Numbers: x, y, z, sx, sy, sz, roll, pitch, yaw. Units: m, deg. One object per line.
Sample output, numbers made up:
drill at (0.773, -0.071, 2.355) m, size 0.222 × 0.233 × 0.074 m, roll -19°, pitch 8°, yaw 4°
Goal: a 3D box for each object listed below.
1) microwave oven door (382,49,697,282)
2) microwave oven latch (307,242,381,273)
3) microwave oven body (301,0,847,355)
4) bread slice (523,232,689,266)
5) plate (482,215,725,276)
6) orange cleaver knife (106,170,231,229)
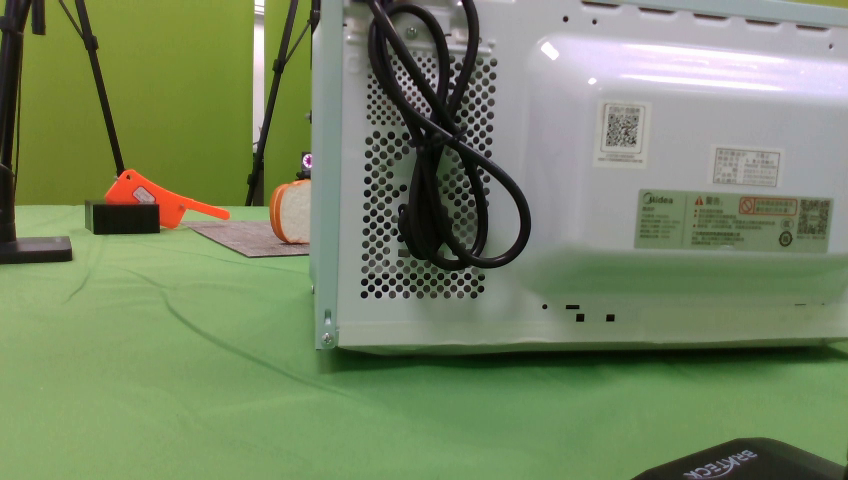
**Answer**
microwave oven door at (0.135, -0.077, 0.685) m, size 0.357 × 0.243 × 0.039 m, roll 1°, pitch 8°, yaw -12°
microwave oven latch at (-0.086, 0.019, 0.656) m, size 0.079 × 0.029 × 0.030 m, roll 2°, pitch 7°, yaw -10°
microwave oven body at (0.120, -0.053, 0.535) m, size 0.443 × 0.260 × 0.325 m, roll 2°, pitch 7°, yaw -11°
bread slice at (0.174, 0.007, 0.565) m, size 0.134 × 0.018 × 0.107 m, roll -5°, pitch 4°, yaw 28°
plate at (0.156, 0.003, 0.545) m, size 0.208 × 0.039 × 0.207 m, roll -1°, pitch 6°, yaw 0°
orange cleaver knife at (-0.458, -0.060, 1.097) m, size 0.212 × 0.077 × 0.012 m, roll 23°, pitch -4°, yaw -38°
